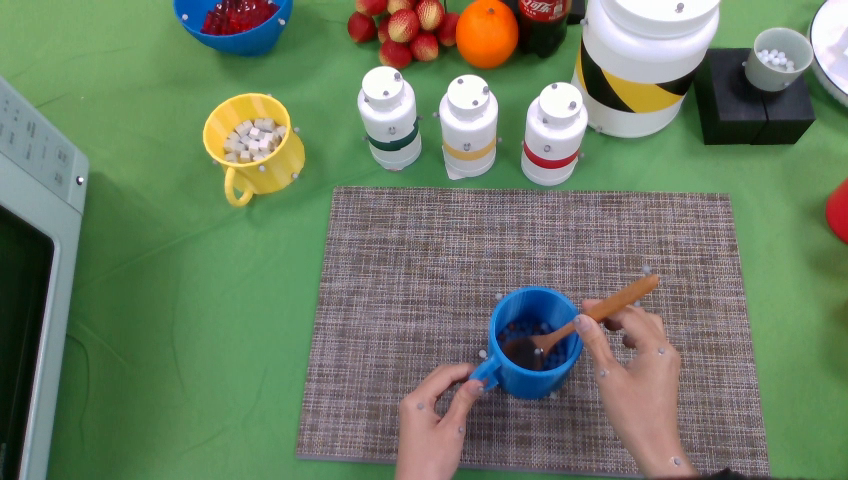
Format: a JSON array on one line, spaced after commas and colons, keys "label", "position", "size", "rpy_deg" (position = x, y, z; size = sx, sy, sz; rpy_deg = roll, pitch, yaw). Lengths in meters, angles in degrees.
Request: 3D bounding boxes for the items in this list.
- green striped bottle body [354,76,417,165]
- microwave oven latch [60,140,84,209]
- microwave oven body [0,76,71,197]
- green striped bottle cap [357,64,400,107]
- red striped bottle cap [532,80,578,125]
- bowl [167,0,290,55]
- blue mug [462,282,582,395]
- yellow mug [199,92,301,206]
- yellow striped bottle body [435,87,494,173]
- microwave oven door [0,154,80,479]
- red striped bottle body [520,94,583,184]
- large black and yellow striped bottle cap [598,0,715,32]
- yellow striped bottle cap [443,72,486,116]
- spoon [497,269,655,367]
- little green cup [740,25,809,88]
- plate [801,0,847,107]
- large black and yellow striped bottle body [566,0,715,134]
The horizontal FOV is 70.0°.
[{"label": "green striped bottle body", "position": [-0.043, -0.140, 0.681], "size": [0.063, 0.120, 0.062], "rpy_deg": [-1, 66, 3]}, {"label": "microwave oven latch", "position": [-0.418, -0.075, 0.705], "size": [0.030, 0.030, 0.078], "rpy_deg": [-6, 67, 1]}, {"label": "microwave oven body", "position": [-0.553, 0.064, 0.548], "size": [0.326, 0.262, 0.438], "rpy_deg": [-7, 67, 1]}, {"label": "green striped bottle cap", "position": [-0.048, -0.162, 0.633], "size": [0.044, 0.020, 0.044], "rpy_deg": [-1, 66, 2]}, {"label": "red striped bottle cap", "position": [0.132, -0.139, 0.610], "size": [0.044, 0.018, 0.044], "rpy_deg": [0, 65, 1]}, {"label": "bowl", "position": [-0.240, -0.295, 0.785], "size": [0.151, 0.077, 0.150], "rpy_deg": [-1, 66, 3]}, {"label": "blue mug", "position": [0.085, 0.105, 0.569], "size": [0.116, 0.106, 0.081], "rpy_deg": [-32, 67, -9]}, {"label": "yellow mug", "position": [-0.206, -0.100, 0.705], "size": [0.100, 0.064, 0.130], "rpy_deg": [11, 68, 9]}, {"label": "yellow striped bottle body", "position": [0.045, -0.130, 0.669], "size": [0.063, 0.121, 0.062], "rpy_deg": [-2, 66, 4]}, {"label": "microwave oven door", "position": [-0.404, 0.082, 0.524], "size": [0.039, 0.245, 0.353], "rpy_deg": [-7, 66, 2]}, {"label": "red striped bottle body", "position": [0.137, -0.117, 0.657], "size": [0.063, 0.120, 0.062], "rpy_deg": [-3, 65, 6]}, {"label": "large black and yellow striped bottle cap", "position": [0.224, -0.249, 0.581], "size": [0.115, 0.019, 0.114], "rpy_deg": [-2, 65, 4]}, {"label": "yellow striped bottle cap", "position": [0.042, -0.150, 0.622], "size": [0.044, 0.019, 0.044], "rpy_deg": [-1, 67, 4]}, {"label": "spoon", "position": [0.124, 0.075, 0.531], "size": [0.022, 0.194, 0.041], "rpy_deg": [-6, 65, -37]}, {"label": "little green cup", "position": [0.381, -0.199, 0.664], "size": [0.061, 0.039, 0.061], "rpy_deg": [0, 64, 1]}, {"label": "plate", "position": [0.552, -0.222, 0.718], "size": [0.209, 0.038, 0.207], "rpy_deg": [-1, 67, 4]}, {"label": "large black and yellow striped bottle body", "position": [0.231, -0.216, 0.659], "size": [0.131, 0.185, 0.130], "rpy_deg": [-2, 66, 4]}]
